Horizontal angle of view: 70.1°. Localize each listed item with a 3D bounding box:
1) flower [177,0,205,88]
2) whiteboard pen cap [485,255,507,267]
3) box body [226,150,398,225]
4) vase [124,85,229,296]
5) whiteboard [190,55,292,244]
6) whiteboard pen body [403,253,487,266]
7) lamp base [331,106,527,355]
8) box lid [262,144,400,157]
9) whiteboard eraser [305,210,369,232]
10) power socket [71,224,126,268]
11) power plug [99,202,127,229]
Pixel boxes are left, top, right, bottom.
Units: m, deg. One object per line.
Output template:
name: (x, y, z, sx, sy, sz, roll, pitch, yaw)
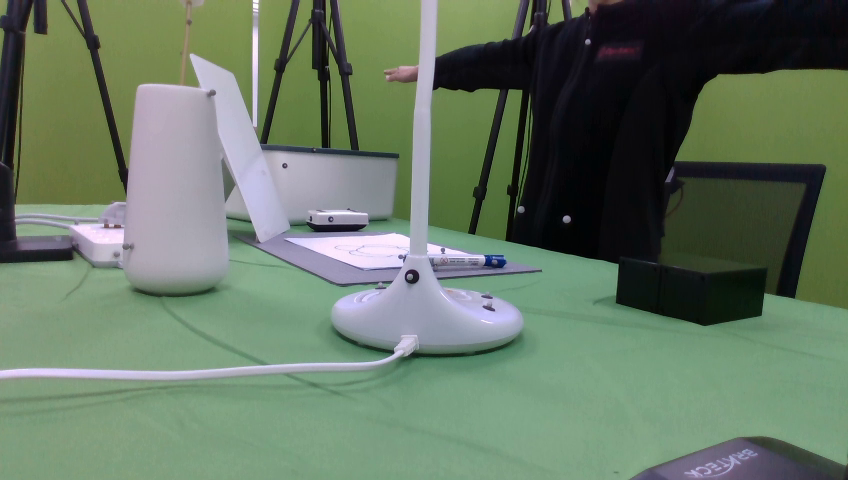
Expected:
flower: (-0.243, -0.131, 0.609, 0.044, 0.361, 0.038, -5, -12, 11)
whiteboard pen cap: (0.093, 0.028, 0.810, 0.033, 0.018, 0.018, 1, 7, -24)
box body: (-0.265, -0.129, 1.380, 0.253, 0.160, 0.366, 8, 9, 39)
vase: (-0.244, -0.047, 0.598, 0.098, 0.200, 0.098, 3, 8, 0)
whiteboard: (-0.363, -0.129, 1.028, 0.144, 0.305, 0.217, -18, 7, 3)
whiteboard pen body: (0.040, 0.026, 0.785, 0.141, 0.017, 0.017, 1, 7, -24)
lamp base: (0.006, -0.012, 0.478, 0.161, 0.180, 0.179, 2, 10, 2)
box lid: (-0.263, -0.203, 1.369, 0.262, 0.015, 0.373, 9, 10, 39)
whiteboard eraser: (-0.168, -0.038, 1.172, 0.113, 0.042, 0.055, -3, 8, -35)
power socket: (-0.409, 0.004, 0.793, 0.072, 0.032, 0.225, -2, 8, -37)
power plug: (-0.415, -0.026, 0.848, 0.073, 0.052, 0.035, 6, 5, -28)
